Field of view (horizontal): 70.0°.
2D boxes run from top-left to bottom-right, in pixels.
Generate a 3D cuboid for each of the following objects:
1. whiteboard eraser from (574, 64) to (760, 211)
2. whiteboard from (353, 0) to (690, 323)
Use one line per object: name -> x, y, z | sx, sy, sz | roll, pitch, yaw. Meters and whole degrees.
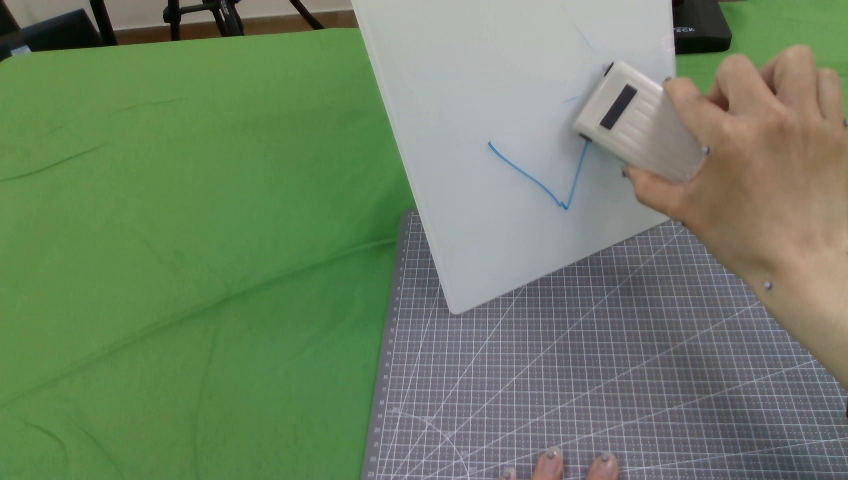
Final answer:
whiteboard eraser -> 0.164, -0.070, 0.418 | 0.112, 0.056, 0.042 | 32, 18, 4
whiteboard -> 0.061, -0.132, 0.467 | 0.217, 0.308, 0.142 | -23, 29, -9
